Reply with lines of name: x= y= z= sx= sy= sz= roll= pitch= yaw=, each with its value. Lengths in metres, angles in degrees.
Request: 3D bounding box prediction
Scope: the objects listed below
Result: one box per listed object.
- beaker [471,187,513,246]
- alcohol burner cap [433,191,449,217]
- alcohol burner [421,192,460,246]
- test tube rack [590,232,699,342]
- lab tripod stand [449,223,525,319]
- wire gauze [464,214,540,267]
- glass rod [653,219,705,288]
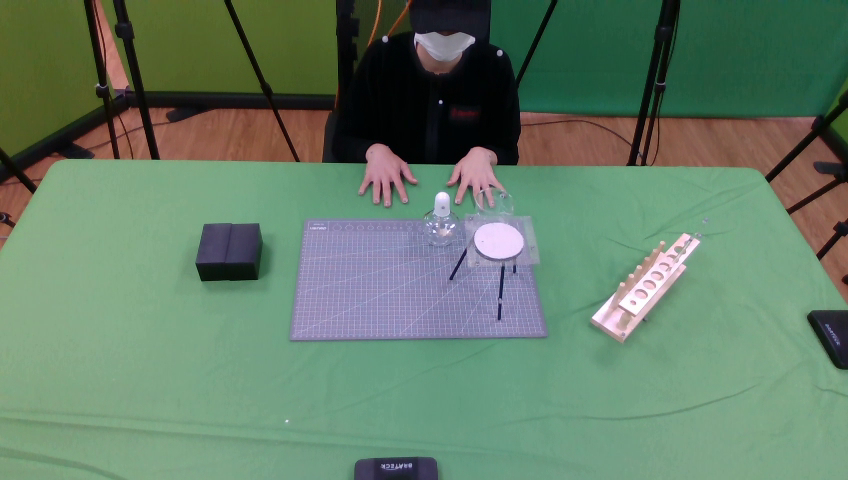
beaker: x=0.134 y=-0.042 z=1.190 sx=0.083 sy=0.101 sz=0.074 roll=34 pitch=53 yaw=25
alcohol burner cap: x=0.033 y=-0.070 z=1.150 sx=0.034 sy=0.048 sz=0.033 roll=0 pitch=45 yaw=0
alcohol burner: x=0.032 y=-0.046 z=1.176 sx=0.078 sy=0.120 sz=0.077 roll=1 pitch=44 yaw=-1
test tube rack: x=0.407 y=0.074 z=1.112 sx=0.066 sy=0.085 sz=0.242 roll=35 pitch=53 yaw=26
lab tripod stand: x=0.120 y=0.046 z=1.080 sx=0.148 sy=0.132 sz=0.147 roll=1 pitch=47 yaw=-1
wire gauze: x=0.131 y=-0.002 z=1.034 sx=0.121 sy=0.011 sz=0.124 roll=1 pitch=45 yaw=-2
glass rod: x=0.444 y=0.032 z=1.063 sx=0.008 sy=0.200 sz=0.008 roll=5 pitch=49 yaw=-6
